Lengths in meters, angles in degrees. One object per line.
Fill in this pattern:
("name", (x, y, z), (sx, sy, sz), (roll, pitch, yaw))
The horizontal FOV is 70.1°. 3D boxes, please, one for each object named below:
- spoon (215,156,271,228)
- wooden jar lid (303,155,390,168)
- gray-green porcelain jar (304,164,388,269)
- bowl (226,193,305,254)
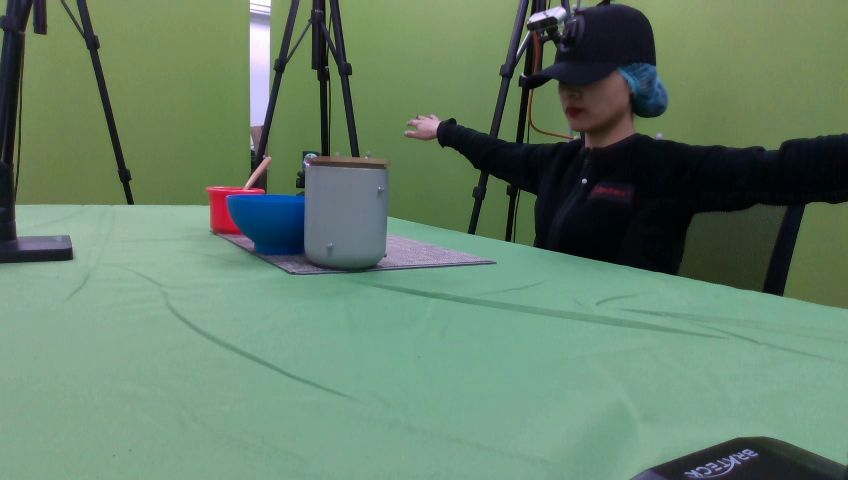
("spoon", (-0.319, -0.090, 1.091), (0.041, 0.022, 0.193), (7, 52, 17))
("wooden jar lid", (-0.097, -0.095, 0.761), (0.108, 0.020, 0.108), (1, 7, 0))
("gray-green porcelain jar", (-0.099, -0.031, 0.770), (0.106, 0.126, 0.106), (2, 7, 0))
("bowl", (-0.205, -0.024, 0.866), (0.151, 0.077, 0.151), (3, 7, 0))
